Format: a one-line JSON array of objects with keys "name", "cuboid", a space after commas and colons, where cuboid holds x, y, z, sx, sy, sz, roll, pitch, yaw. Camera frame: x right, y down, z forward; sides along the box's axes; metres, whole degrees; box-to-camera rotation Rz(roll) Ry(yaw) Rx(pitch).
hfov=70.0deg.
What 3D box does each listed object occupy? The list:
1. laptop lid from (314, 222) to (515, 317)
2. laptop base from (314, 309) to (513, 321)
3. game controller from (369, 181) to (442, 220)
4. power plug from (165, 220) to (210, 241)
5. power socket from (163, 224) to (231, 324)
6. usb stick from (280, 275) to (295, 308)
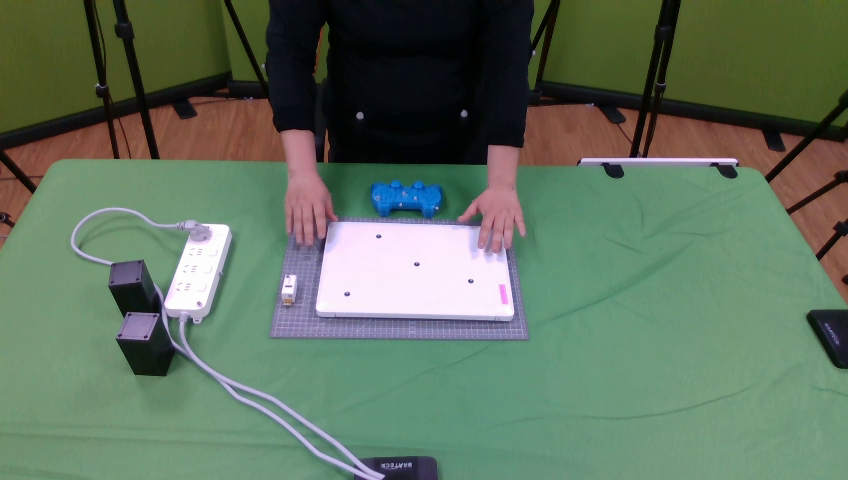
[{"name": "laptop lid", "cuboid": [-0.016, 0.049, 1.134, 0.357, 0.013, 0.240, 3, 43, -2]}, {"name": "laptop base", "cuboid": [-0.017, 0.059, 1.141, 0.354, 0.023, 0.234, 2, 42, -3]}, {"name": "game controller", "cuboid": [-0.039, -0.092, 1.268, 0.155, 0.052, 0.096, 2, 50, -2]}, {"name": "power plug", "cuboid": [-0.440, -0.016, 1.143, 0.072, 0.053, 0.035, 7, 46, 9]}, {"name": "power socket", "cuboid": [-0.411, 0.052, 1.107, 0.072, 0.033, 0.225, 3, 46, -3]}, {"name": "usb stick", "cuboid": [-0.244, 0.093, 1.081, 0.021, 0.027, 0.059, 3, 48, -5]}]
